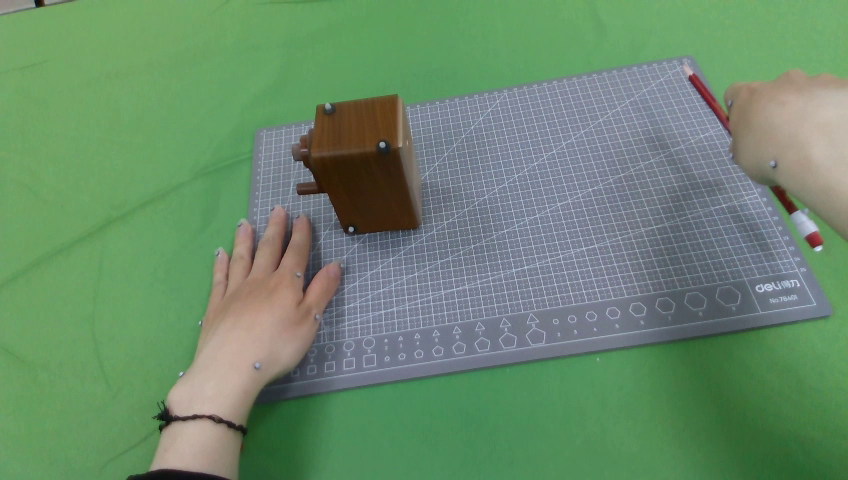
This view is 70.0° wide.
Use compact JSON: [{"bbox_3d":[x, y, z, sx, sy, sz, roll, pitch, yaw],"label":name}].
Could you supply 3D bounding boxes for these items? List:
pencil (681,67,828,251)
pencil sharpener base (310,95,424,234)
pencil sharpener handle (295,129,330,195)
[{"bbox_3d":[0.254,-0.072,0.478,0.012,0.012,0.192,-19,61,-4],"label":"pencil"},{"bbox_3d":[-0.044,-0.059,0.506,0.076,0.108,0.061,-6,55,6],"label":"pencil sharpener base"},{"bbox_3d":[-0.097,-0.060,0.501,0.030,0.068,0.035,-6,54,6],"label":"pencil sharpener handle"}]
